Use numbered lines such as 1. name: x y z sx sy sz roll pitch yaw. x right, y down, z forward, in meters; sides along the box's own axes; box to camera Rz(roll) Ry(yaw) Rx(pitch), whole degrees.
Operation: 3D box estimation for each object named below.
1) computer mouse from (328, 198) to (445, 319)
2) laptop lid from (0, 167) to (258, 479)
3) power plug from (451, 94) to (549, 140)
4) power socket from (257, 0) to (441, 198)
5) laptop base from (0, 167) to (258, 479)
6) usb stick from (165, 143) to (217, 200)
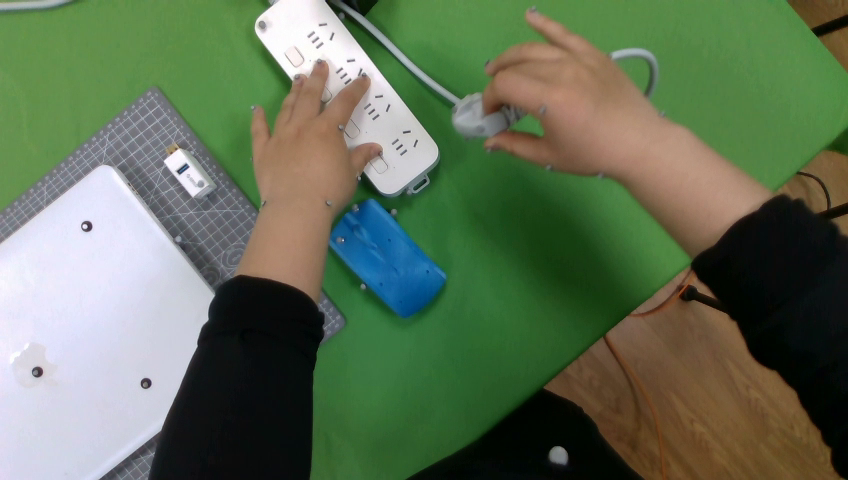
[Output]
1. computer mouse: -0.037 0.017 0.576 0.063 0.041 0.117 -44 85 3
2. laptop lid: -0.364 0.126 0.578 0.356 0.013 0.242 -37 92 1
3. power plug: 0.057 -0.101 0.484 0.072 0.052 0.035 -13 129 -8
4. power socket: -0.071 -0.139 0.577 0.072 0.032 0.226 -38 90 2
5. laptop base: -0.365 0.124 0.590 0.354 0.023 0.236 -39 93 1
6. usb stick: -0.227 -0.068 0.580 0.021 0.027 0.059 -37 89 4
